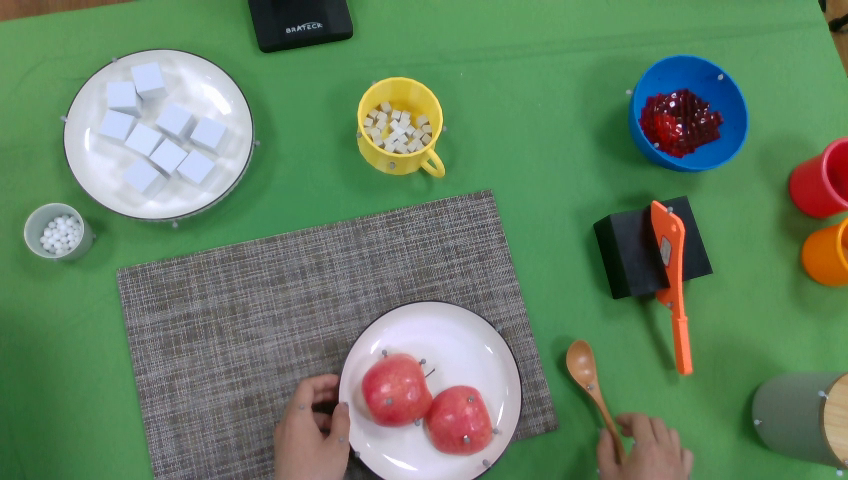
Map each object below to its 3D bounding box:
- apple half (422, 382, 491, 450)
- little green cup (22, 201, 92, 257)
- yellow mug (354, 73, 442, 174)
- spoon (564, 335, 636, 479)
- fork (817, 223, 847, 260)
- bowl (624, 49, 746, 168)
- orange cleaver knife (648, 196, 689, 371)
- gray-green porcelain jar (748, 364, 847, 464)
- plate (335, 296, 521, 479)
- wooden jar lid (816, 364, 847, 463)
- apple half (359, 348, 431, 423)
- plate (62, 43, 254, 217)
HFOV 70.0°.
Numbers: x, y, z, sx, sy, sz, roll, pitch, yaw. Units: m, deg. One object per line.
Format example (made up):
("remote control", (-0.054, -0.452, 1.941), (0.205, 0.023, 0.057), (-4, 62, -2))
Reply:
("apple half", (0.038, 0.200, 0.680), (0.081, 0.033, 0.081), (2, 76, -6))
("little green cup", (-0.401, -0.010, 0.668), (0.062, 0.038, 0.061), (2, 79, -9))
("yellow mug", (-0.023, -0.130, 0.729), (0.100, 0.064, 0.131), (-43, 88, -13))
("spoon", (0.212, 0.205, 0.720), (0.042, 0.021, 0.193), (-19, 82, -30))
("fork", (0.538, 0.044, 0.729), (0.028, 0.019, 0.205), (3, 36, -8))
("bowl", (0.317, -0.155, 0.773), (0.152, 0.077, 0.151), (1, 80, -7))
("orange cleaver knife", (0.292, 0.052, 0.729), (0.012, 0.076, 0.212), (-12, 105, -6))
("gray-green porcelain jar", (0.454, 0.198, 0.701), (0.106, 0.127, 0.105), (1, 79, -7))
("plate", (0.004, 0.168, 0.687), (0.209, 0.038, 0.208), (1, 80, -8))
("wooden jar lid", (0.460, 0.185, 0.641), (0.108, 0.021, 0.108), (1, 82, -8))
("apple half", (-0.033, 0.162, 0.668), (0.075, 0.053, 0.080), (-16, 82, -7))
("plate", (-0.302, -0.126, 0.705), (0.208, 0.039, 0.206), (1, 79, -7))
